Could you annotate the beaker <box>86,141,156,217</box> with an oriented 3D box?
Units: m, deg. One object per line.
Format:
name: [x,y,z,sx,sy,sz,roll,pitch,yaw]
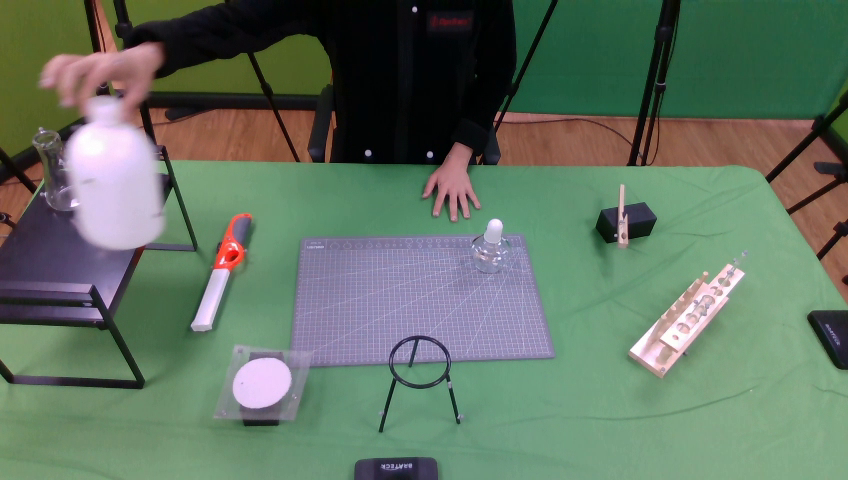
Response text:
beaker: [-0.467,-0.092,0.950,0.084,0.101,0.073,15,47,11]

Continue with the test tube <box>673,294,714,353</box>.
test tube: [0.428,0.137,0.978,0.017,0.151,0.017,4,47,-4]

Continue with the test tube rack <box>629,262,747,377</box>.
test tube rack: [0.464,0.126,1.060,0.242,0.085,0.066,-34,56,-31]

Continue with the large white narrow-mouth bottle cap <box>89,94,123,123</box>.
large white narrow-mouth bottle cap: [-0.384,-0.159,0.731,0.038,0.024,0.037,8,35,-5]

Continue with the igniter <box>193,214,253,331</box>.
igniter: [-0.368,0.050,1.119,0.057,0.025,0.275,-3,46,8]

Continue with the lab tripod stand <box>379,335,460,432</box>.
lab tripod stand: [-0.010,0.214,0.912,0.148,0.132,0.147,1,45,0]

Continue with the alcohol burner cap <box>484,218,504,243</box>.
alcohol burner cap: [0.130,-0.021,1.106,0.034,0.048,0.033,3,51,-4]

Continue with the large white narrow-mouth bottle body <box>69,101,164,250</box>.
large white narrow-mouth bottle body: [-0.397,-0.089,0.781,0.102,0.195,0.101,8,35,-5]

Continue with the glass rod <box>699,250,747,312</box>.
glass rod: [0.500,0.075,1.021,0.008,0.201,0.008,0,55,1]

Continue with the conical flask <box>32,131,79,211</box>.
conical flask: [-0.565,-0.110,0.944,0.075,0.122,0.075,2,46,-2]

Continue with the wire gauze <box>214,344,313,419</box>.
wire gauze: [-0.241,0.213,0.915,0.121,0.011,0.124,5,46,1]

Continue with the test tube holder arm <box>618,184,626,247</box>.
test tube holder arm: [0.395,-0.053,1.211,0.013,0.015,0.177,15,46,0]

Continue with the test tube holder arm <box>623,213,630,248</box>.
test tube holder arm: [0.392,-0.020,1.180,0.010,0.015,0.087,15,46,0]

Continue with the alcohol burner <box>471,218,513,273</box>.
alcohol burner: [0.128,0.005,1.132,0.078,0.120,0.077,0,47,0]
